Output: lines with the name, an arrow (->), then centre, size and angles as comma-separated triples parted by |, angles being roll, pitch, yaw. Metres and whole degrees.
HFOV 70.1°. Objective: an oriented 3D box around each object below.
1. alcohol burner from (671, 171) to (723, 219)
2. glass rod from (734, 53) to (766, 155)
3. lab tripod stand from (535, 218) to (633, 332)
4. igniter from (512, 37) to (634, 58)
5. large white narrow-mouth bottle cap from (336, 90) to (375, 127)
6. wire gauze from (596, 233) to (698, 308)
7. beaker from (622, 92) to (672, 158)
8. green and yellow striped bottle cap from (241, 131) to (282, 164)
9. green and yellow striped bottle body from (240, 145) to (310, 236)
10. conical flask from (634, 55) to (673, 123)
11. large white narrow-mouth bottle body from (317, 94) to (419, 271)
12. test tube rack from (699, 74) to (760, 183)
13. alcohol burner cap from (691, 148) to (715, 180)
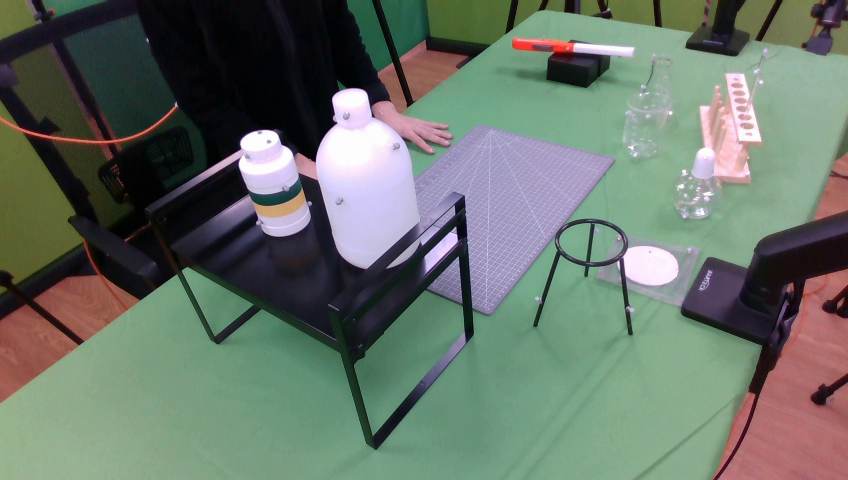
alcohol burner -> 0.434, -0.093, 0.955 | 0.078, 0.119, 0.077 | -3, 43, 4
glass rod -> 0.540, -0.219, 1.006 | 0.008, 0.201, 0.008 | -5, 45, 6
lab tripod stand -> 0.215, 0.050, 0.803 | 0.148, 0.132, 0.147 | -4, 43, 4
igniter -> 0.328, -0.433, 1.360 | 0.275, 0.025, 0.057 | 12, 33, 20
large white narrow-mouth bottle cap -> -0.068, -0.130, 0.595 | 0.038, 0.024, 0.037 | -3, 41, 3
wire gauze -> 0.331, 0.038, 0.897 | 0.124, 0.011, 0.121 | 18, 47, 26
beaker -> 0.402, -0.210, 1.106 | 0.074, 0.101, 0.083 | -8, 40, -2
green and yellow striped bottle cap -> -0.187, -0.107, 0.695 | 0.045, 0.020, 0.045 | -3, 39, 3
green and yellow striped bottle body -> -0.181, -0.068, 0.729 | 0.063, 0.120, 0.063 | -4, 40, 4
conical flask -> 0.456, -0.297, 1.182 | 0.075, 0.122, 0.075 | -4, 41, 4
large white narrow-mouth bottle body -> -0.062, -0.065, 0.653 | 0.102, 0.195, 0.101 | -3, 41, 3
test tube rack -> 0.547, -0.208, 1.095 | 0.066, 0.085, 0.242 | 6, 42, 16
alcohol burner cap -> 0.432, -0.120, 0.930 | 0.034, 0.048, 0.033 | -7, 48, 8
